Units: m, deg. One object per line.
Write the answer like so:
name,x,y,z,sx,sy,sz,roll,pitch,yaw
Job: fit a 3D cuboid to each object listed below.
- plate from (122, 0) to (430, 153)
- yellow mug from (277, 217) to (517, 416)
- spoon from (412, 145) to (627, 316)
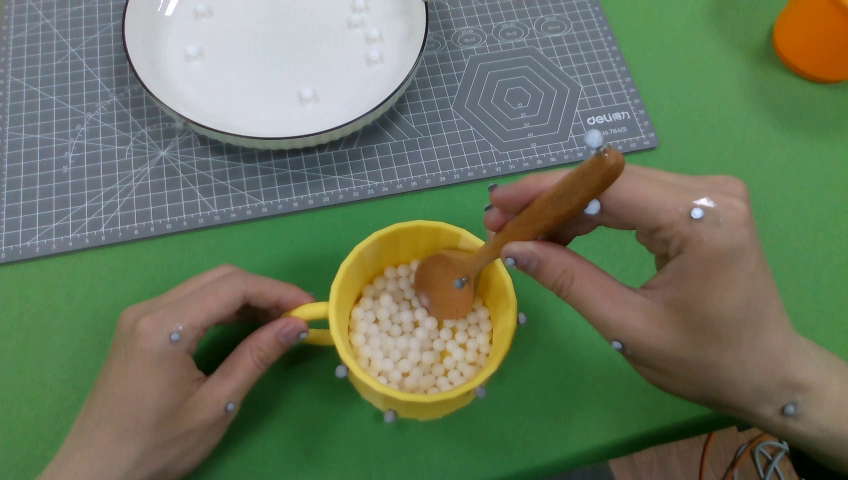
plate,-0.100,-0.147,0.432,0.208,0.039,0.206,1,67,-3
yellow mug,-0.017,0.046,0.343,0.131,0.064,0.099,-2,67,-3
spoon,0.032,0.004,0.282,0.021,0.194,0.041,-24,83,-22
